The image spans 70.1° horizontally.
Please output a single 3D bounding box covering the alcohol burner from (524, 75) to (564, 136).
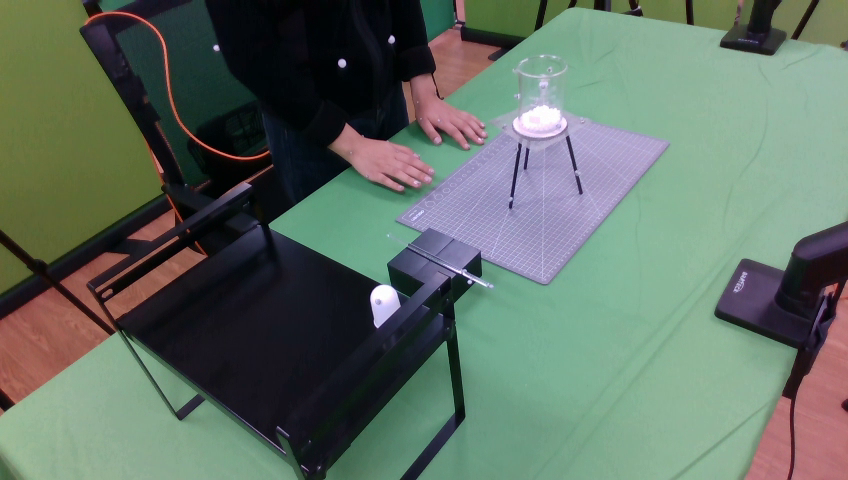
[{"bbox_3d":[0.232,-0.263,1.175,0.078,0.119,0.077,-6,39,5],"label":"alcohol burner"}]

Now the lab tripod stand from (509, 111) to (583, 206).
[{"bbox_3d":[0.197,-0.139,1.019,0.148,0.132,0.147,-3,39,3],"label":"lab tripod stand"}]

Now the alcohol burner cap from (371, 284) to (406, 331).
[{"bbox_3d":[-0.037,0.065,0.608,0.034,0.048,0.033,-4,41,4],"label":"alcohol burner cap"}]

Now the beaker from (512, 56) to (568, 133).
[{"bbox_3d":[0.181,-0.225,0.946,0.084,0.101,0.074,2,41,12],"label":"beaker"}]

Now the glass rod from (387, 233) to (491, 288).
[{"bbox_3d":[0.017,0.027,0.877,0.198,0.008,0.008,26,51,34],"label":"glass rod"}]

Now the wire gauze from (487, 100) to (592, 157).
[{"bbox_3d":[0.185,-0.187,0.974,0.122,0.011,0.124,-28,47,-22],"label":"wire gauze"}]
